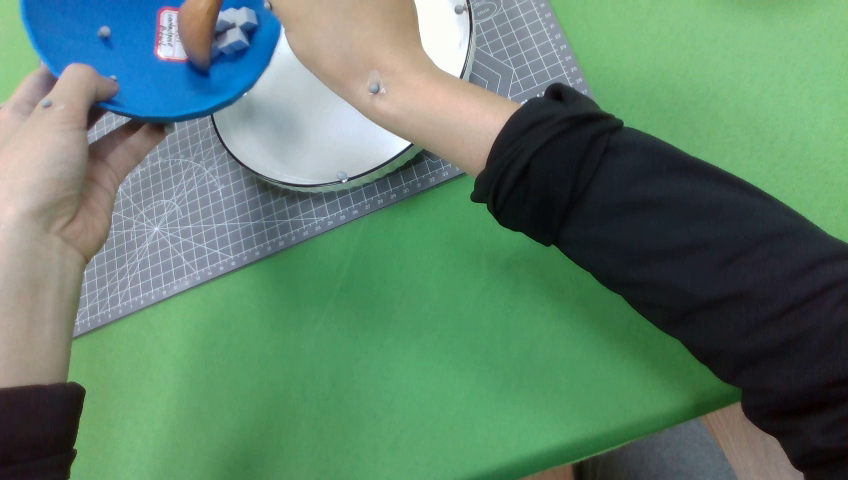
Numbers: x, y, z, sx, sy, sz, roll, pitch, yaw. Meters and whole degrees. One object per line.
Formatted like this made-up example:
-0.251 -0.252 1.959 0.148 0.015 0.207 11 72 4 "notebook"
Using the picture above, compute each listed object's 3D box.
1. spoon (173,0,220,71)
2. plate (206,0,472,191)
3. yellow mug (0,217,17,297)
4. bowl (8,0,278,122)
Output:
-0.114 -0.152 0.338 0.193 0.022 0.041 -27 88 53 "spoon"
-0.063 -0.129 0.449 0.208 0.038 0.208 -5 71 16 "plate"
-0.406 0.030 0.495 0.099 0.064 0.130 1 73 18 "yellow mug"
-0.172 -0.142 0.399 0.152 0.077 0.151 2 83 -13 "bowl"
